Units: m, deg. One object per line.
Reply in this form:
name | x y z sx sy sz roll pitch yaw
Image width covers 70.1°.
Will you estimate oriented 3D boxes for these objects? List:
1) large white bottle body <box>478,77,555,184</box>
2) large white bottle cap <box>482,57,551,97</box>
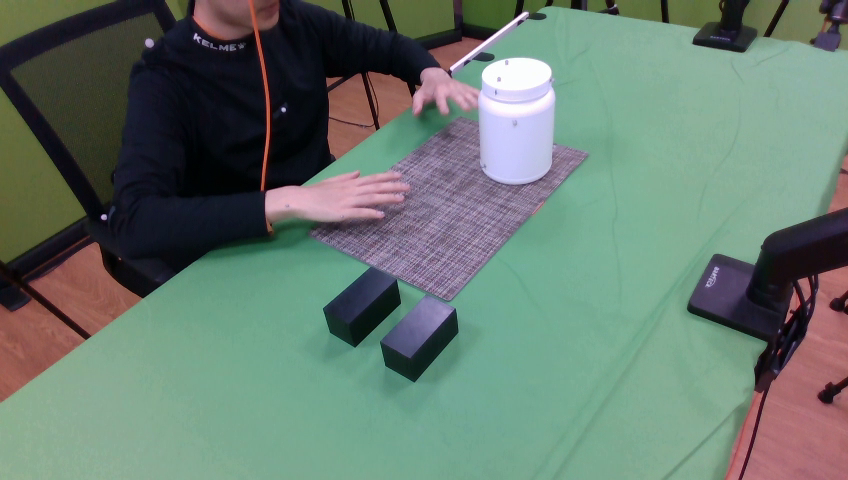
large white bottle body | 0.161 -0.206 1.054 0.130 0.185 0.130 -4 41 4
large white bottle cap | 0.153 -0.270 0.999 0.115 0.018 0.114 -3 41 3
